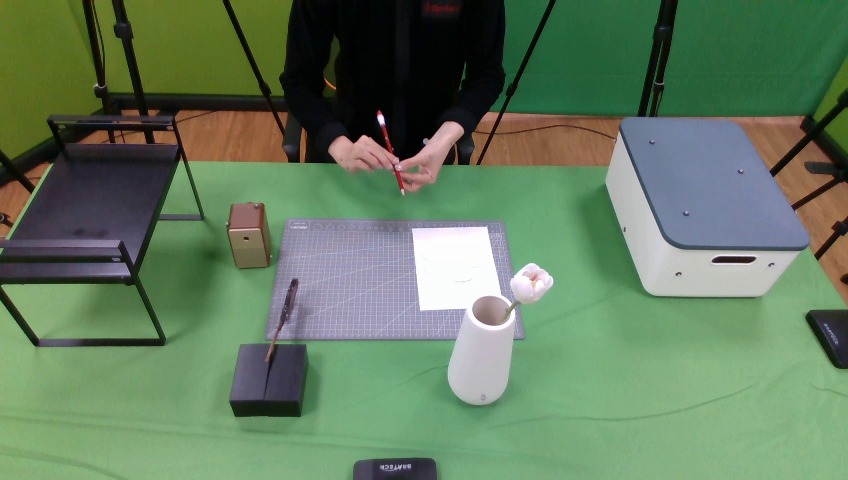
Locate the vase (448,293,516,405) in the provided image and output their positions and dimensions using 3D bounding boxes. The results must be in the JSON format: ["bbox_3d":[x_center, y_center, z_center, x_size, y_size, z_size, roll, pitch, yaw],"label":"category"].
[{"bbox_3d":[0.091,0.169,0.921,0.098,0.201,0.097,3,47,-3],"label":"vase"}]

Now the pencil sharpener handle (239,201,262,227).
[{"bbox_3d":[-0.325,-0.055,1.150,0.036,0.068,0.030,-13,46,3],"label":"pencil sharpener handle"}]

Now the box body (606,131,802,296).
[{"bbox_3d":[0.530,-0.067,1.204,0.254,0.161,0.361,0,46,-4],"label":"box body"}]

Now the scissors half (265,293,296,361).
[{"bbox_3d":[-0.239,0.143,1.005,0.013,0.040,0.174,17,28,-6],"label":"scissors half"}]

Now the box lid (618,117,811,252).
[{"bbox_3d":[0.534,-0.117,1.148,0.263,0.015,0.369,0,47,-3],"label":"box lid"}]

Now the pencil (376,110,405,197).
[{"bbox_3d":[-0.064,-0.168,1.166,0.012,0.012,0.193,-12,72,-16],"label":"pencil"}]

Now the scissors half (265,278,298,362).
[{"bbox_3d":[-0.234,0.127,0.993,0.013,0.040,0.174,12,46,-3],"label":"scissors half"}]

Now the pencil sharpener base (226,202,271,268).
[{"bbox_3d":[-0.323,-0.010,1.123,0.061,0.107,0.076,-3,46,-7],"label":"pencil sharpener base"}]

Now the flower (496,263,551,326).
[{"bbox_3d":[0.102,0.120,0.853,0.044,0.363,0.038,-2,64,-10],"label":"flower"}]
